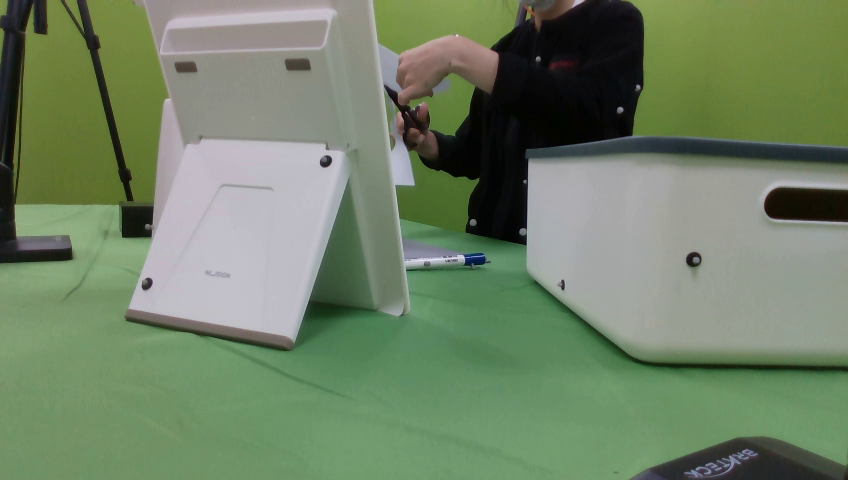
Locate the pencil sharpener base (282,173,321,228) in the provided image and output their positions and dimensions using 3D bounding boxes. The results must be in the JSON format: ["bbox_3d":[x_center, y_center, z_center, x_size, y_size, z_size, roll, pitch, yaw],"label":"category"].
[{"bbox_3d":[-0.247,-0.080,1.212,0.061,0.107,0.076,-2,5,-28],"label":"pencil sharpener base"}]

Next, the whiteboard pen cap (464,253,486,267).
[{"bbox_3d":[0.066,0.027,0.818,0.033,0.018,0.018,-6,10,-24],"label":"whiteboard pen cap"}]

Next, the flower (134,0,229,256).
[{"bbox_3d":[-0.282,-0.146,0.713,0.038,0.362,0.044,-23,23,-31],"label":"flower"}]

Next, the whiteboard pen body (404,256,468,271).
[{"bbox_3d":[0.013,0.030,0.792,0.141,0.017,0.017,-3,9,-24],"label":"whiteboard pen body"}]

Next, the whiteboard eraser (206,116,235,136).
[{"bbox_3d":[-0.450,-0.252,1.335,0.056,0.042,0.112,1,7,-22],"label":"whiteboard eraser"}]

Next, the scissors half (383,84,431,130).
[{"bbox_3d":[-0.029,-0.239,1.075,0.013,0.040,0.176,19,-1,28],"label":"scissors half"}]

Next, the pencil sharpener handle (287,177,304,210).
[{"bbox_3d":[-0.269,-0.096,1.257,0.036,0.067,0.030,-8,8,-27],"label":"pencil sharpener handle"}]

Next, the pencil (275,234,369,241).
[{"bbox_3d":[-0.169,-0.006,1.036,0.195,0.012,0.012,-2,8,-45],"label":"pencil"}]

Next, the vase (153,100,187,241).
[{"bbox_3d":[-0.278,-0.066,0.736,0.098,0.200,0.098,2,9,0],"label":"vase"}]

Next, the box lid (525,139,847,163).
[{"bbox_3d":[0.261,-0.078,0.580,0.264,0.015,0.371,2,7,-4],"label":"box lid"}]

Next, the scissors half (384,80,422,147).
[{"bbox_3d":[-0.039,-0.221,1.071,0.012,0.040,0.176,24,-20,30],"label":"scissors half"}]

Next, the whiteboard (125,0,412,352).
[{"bbox_3d":[-0.151,-0.049,0.472,0.216,0.305,0.144,6,27,24],"label":"whiteboard"}]

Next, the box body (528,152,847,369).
[{"bbox_3d":[0.257,-0.005,0.591,0.254,0.160,0.363,2,7,-4],"label":"box body"}]
